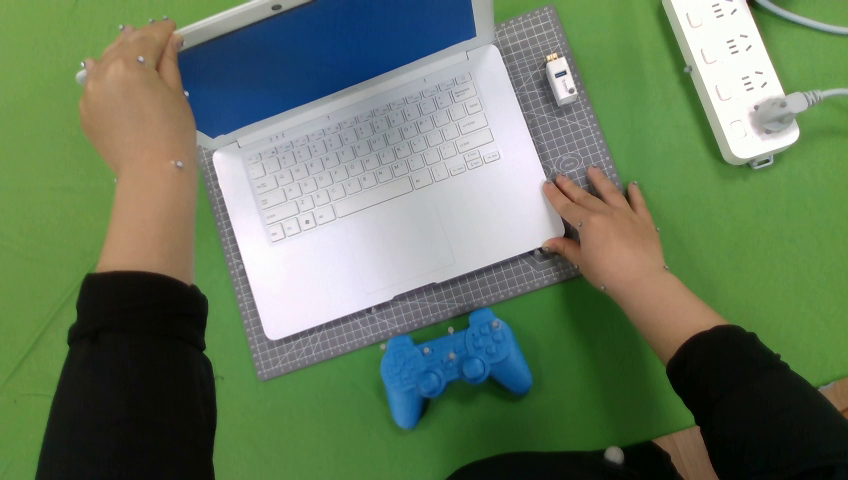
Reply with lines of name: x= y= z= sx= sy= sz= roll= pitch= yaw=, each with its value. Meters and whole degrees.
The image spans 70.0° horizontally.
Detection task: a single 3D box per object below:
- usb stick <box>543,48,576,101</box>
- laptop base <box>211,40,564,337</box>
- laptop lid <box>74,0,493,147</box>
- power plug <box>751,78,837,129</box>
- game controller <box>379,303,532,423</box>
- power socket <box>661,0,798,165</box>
usb stick: x=0.145 y=-0.184 z=0.659 sx=0.021 sy=0.027 sz=0.059 roll=-20 pitch=79 yaw=8
laptop base: x=-0.049 y=-0.057 z=0.681 sx=0.354 sy=0.023 sz=0.235 roll=-20 pitch=85 yaw=6
laptop lid: x=-0.105 y=-0.179 z=0.580 sx=0.356 sy=0.242 sz=0.013 roll=-20 pitch=83 yaw=7
power plug: x=0.364 y=-0.131 z=0.602 sx=0.072 sy=0.053 sz=0.035 roll=-7 pitch=82 yaw=3
game controller: x=0.028 y=0.128 z=0.638 sx=0.155 sy=0.052 sz=0.096 roll=-19 pitch=77 yaw=6
power socket: x=0.316 y=-0.189 z=0.634 sx=0.072 sy=0.033 sz=0.226 roll=-18 pitch=82 yaw=7
